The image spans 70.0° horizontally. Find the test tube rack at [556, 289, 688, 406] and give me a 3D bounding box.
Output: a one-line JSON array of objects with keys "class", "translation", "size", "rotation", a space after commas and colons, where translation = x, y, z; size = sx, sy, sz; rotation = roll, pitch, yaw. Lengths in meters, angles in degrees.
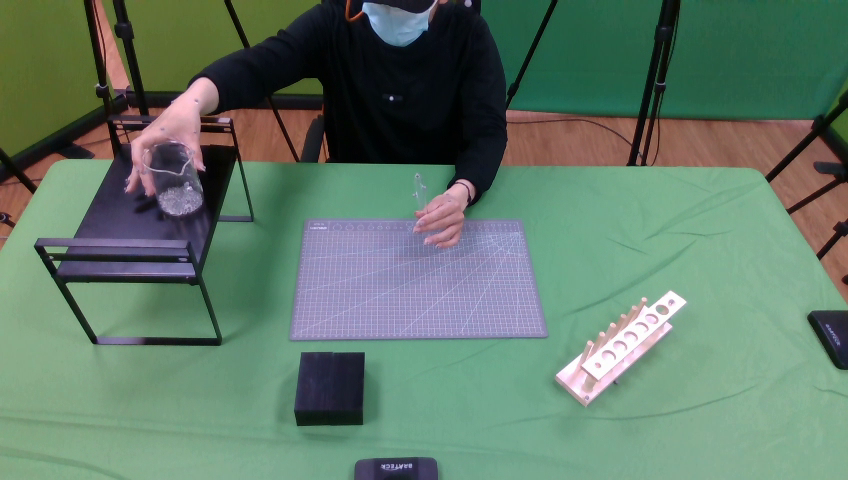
[{"class": "test tube rack", "translation": [0.332, 0.166, 1.014], "size": [0.242, 0.085, 0.066], "rotation": [-30, 55, -28]}]

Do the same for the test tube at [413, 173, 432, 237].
[{"class": "test tube", "translation": [-0.002, -0.059, 1.084], "size": [0.017, 0.151, 0.017], "rotation": [-5, 47, 5]}]

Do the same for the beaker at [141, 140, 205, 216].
[{"class": "beaker", "translation": [-0.388, -0.093, 0.952], "size": [0.074, 0.101, 0.083], "rotation": [-30, 56, -28]}]
